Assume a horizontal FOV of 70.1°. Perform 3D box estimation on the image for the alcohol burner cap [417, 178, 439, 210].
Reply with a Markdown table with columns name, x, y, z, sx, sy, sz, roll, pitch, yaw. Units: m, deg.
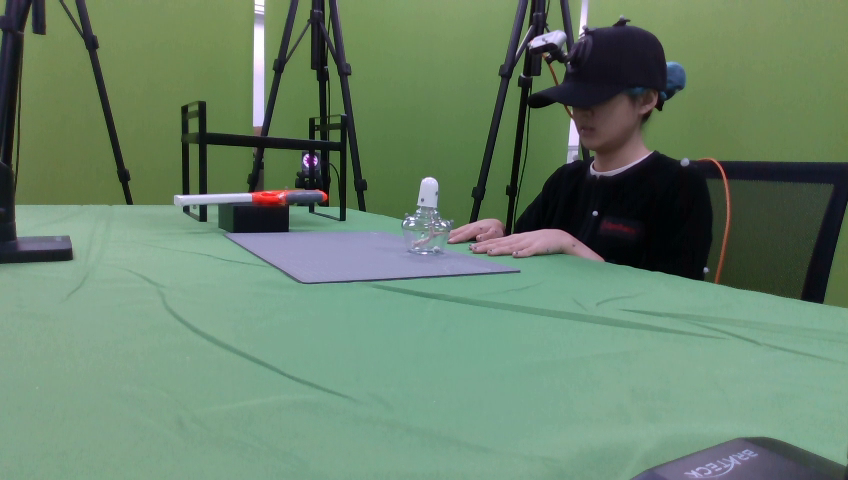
| name | x | y | z | sx | sy | sz | roll | pitch | yaw |
| --- | --- | --- | --- | --- | --- | --- | --- | --- | --- |
| alcohol burner cap | 0.008 | -0.071 | 0.917 | 0.034 | 0.048 | 0.034 | 6 | 5 | 0 |

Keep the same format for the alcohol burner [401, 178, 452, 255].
| name | x | y | z | sx | sy | sz | roll | pitch | yaw |
| --- | --- | --- | --- | --- | --- | --- | --- | --- | --- |
| alcohol burner | 0.005 | -0.036 | 0.923 | 0.078 | 0.119 | 0.078 | 5 | 7 | 0 |

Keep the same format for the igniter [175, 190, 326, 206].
| name | x | y | z | sx | sy | sz | roll | pitch | yaw |
| --- | --- | --- | --- | --- | --- | --- | --- | --- | --- |
| igniter | -0.315 | -0.079 | 1.128 | 0.278 | 0.025 | 0.057 | -5 | 13 | -34 |
